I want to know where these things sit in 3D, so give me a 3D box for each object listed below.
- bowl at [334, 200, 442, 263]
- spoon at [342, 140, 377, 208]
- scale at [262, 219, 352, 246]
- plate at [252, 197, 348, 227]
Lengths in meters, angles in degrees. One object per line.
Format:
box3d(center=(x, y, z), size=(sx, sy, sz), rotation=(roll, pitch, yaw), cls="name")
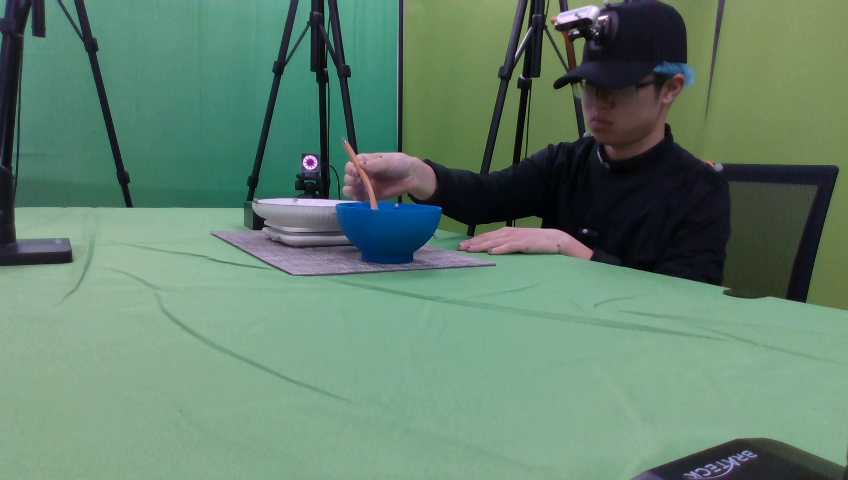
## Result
box3d(center=(-0.051, -0.012, 0.849), size=(0.151, 0.077, 0.151), rotation=(2, 8, 0), cls="bowl")
box3d(center=(-0.080, -0.069, 0.865), size=(0.021, 0.193, 0.042), rotation=(-29, -24, 16), cls="spoon")
box3d(center=(-0.160, -0.015, 1.028), size=(0.202, 0.031, 0.148), rotation=(-2, 8, -32), cls="scale")
box3d(center=(-0.179, -0.047, 1.012), size=(0.209, 0.038, 0.209), rotation=(2, 6, 0), cls="plate")
